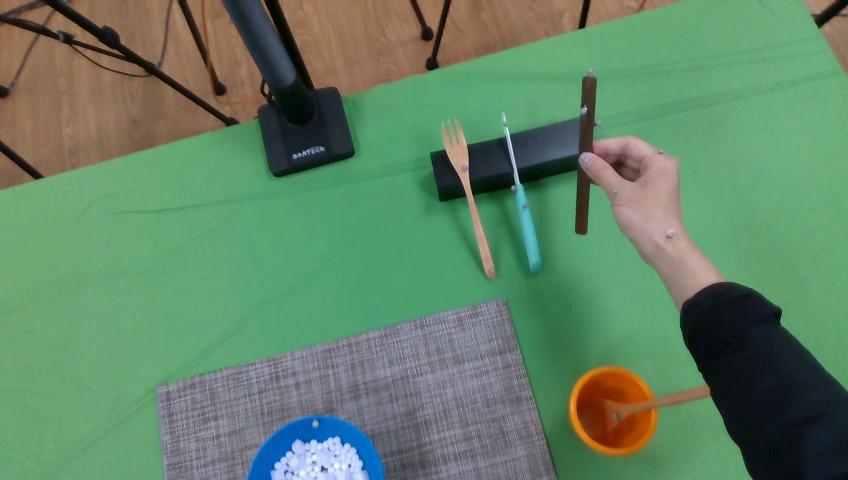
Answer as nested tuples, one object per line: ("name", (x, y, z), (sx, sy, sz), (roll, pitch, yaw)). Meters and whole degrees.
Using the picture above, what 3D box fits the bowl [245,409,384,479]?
("bowl", (-0.113, 0.267, 0.673), (0.151, 0.077, 0.150), (-1, 72, 5))

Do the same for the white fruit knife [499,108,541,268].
("white fruit knife", (0.118, -0.066, 0.764), (0.016, 0.027, 0.207), (-13, 88, -3))

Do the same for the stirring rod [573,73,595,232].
("stirring rod", (0.161, -0.083, 0.613), (0.014, 0.178, 0.006), (9, 37, 22))

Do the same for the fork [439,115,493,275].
("fork", (0.056, -0.055, 0.766), (0.028, 0.018, 0.207), (-16, 91, -4))

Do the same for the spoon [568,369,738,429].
("spoon", (0.237, 0.168, 0.645), (0.022, 0.193, 0.041), (3, 66, -42))
